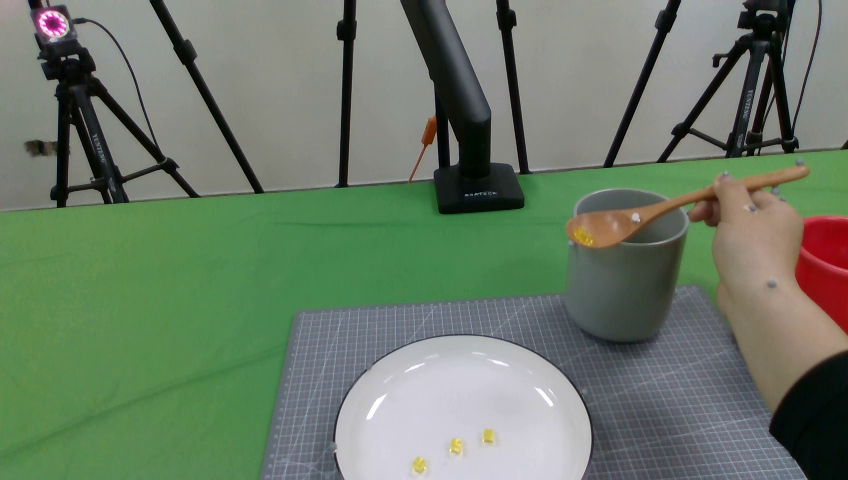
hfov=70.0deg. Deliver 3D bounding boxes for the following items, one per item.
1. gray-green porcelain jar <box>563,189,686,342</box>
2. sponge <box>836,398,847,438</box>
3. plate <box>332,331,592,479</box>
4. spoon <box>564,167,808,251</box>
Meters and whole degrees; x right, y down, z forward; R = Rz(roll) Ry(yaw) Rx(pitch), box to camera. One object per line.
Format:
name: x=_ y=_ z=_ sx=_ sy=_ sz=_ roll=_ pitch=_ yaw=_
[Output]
gray-green porcelain jar: x=0.194 y=0.029 z=0.602 sx=0.106 sy=0.127 sz=0.105 roll=-2 pitch=34 yaw=2
sponge: x=0.417 y=0.181 z=0.420 sx=0.118 sy=0.061 sz=0.204 roll=-6 pitch=34 yaw=-5
plate: x=0.030 y=0.159 z=0.501 sx=0.207 sy=0.039 sz=0.205 roll=-2 pitch=34 yaw=2
spoon: x=0.211 y=-0.027 z=0.493 sx=0.193 sy=0.022 sz=0.041 roll=-18 pitch=42 yaw=12
